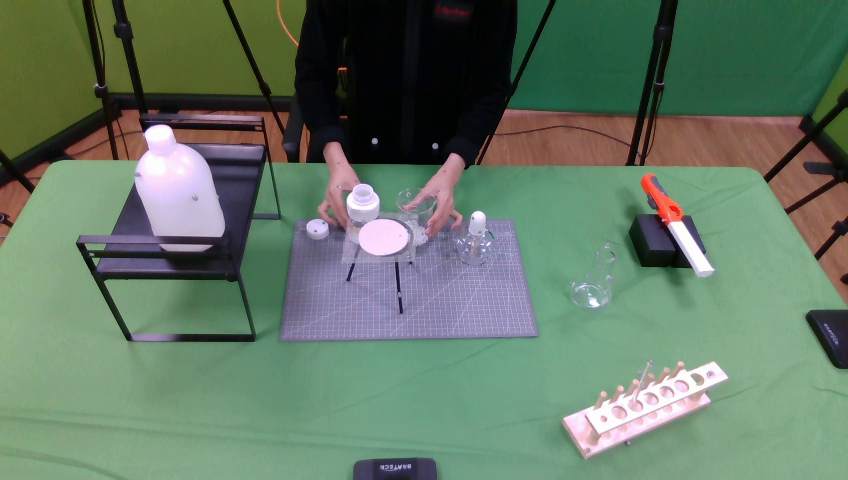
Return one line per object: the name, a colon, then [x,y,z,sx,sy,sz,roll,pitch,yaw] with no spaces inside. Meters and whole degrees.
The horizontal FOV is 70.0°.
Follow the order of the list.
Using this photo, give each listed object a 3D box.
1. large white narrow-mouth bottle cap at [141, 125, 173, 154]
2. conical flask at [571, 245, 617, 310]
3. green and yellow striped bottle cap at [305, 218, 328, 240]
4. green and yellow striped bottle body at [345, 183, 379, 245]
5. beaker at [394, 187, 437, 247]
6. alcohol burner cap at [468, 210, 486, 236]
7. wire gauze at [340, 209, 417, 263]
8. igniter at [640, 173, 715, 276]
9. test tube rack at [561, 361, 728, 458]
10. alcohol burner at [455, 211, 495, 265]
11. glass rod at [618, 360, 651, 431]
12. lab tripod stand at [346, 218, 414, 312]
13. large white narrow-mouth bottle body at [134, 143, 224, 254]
large white narrow-mouth bottle cap: [-0.356,-0.134,0.810,0.038,0.024,0.037,2,48,-1]
conical flask: [0.313,0.064,1.089,0.075,0.122,0.075,2,46,-2]
green and yellow striped bottle cap: [-0.215,-0.022,1.204,0.045,0.020,0.045,4,46,-4]
green and yellow striped bottle body: [-0.118,-0.052,1.166,0.063,0.120,0.063,2,46,-2]
beaker: [-0.018,-0.042,1.180,0.084,0.101,0.073,-9,48,-13]
alcohol burner cap: [0.100,-0.034,1.119,0.034,0.048,0.033,0,53,0]
wire gauze: [-0.074,-0.007,1.023,0.121,0.011,0.124,3,46,0]
igniter: [0.495,-0.039,1.204,0.057,0.025,0.274,-2,47,-12]
test tube rack: [0.341,0.248,0.940,0.243,0.085,0.066,-15,49,-18]
alcohol burner: [0.097,-0.010,1.147,0.078,0.120,0.077,1,47,-1]
glass rod: [0.298,0.227,0.865,0.008,0.201,0.008,-2,48,2]
lab tripod stand: [-0.070,0.037,1.075,0.148,0.132,0.147,1,48,-1]
large white narrow-mouth bottle body: [-0.358,-0.075,0.875,0.102,0.195,0.101,1,48,-1]
